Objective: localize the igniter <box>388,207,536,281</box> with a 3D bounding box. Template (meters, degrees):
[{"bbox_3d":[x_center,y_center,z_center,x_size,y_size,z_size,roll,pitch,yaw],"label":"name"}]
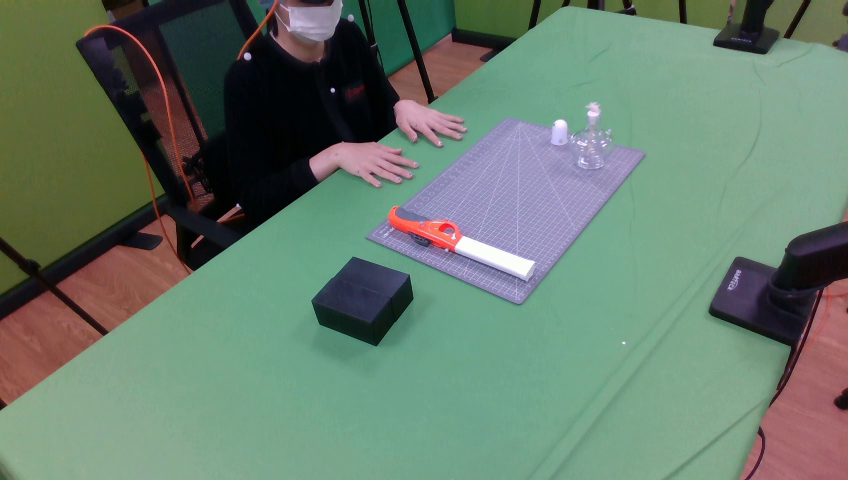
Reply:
[{"bbox_3d":[0.049,0.001,0.954,0.274,0.025,0.057,22,59,31],"label":"igniter"}]

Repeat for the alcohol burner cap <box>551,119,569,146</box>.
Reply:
[{"bbox_3d":[0.261,-0.207,1.156,0.034,0.048,0.033,-5,41,5],"label":"alcohol burner cap"}]

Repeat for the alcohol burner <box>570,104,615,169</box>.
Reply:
[{"bbox_3d":[0.299,-0.186,1.071,0.078,0.119,0.077,-6,41,6],"label":"alcohol burner"}]
